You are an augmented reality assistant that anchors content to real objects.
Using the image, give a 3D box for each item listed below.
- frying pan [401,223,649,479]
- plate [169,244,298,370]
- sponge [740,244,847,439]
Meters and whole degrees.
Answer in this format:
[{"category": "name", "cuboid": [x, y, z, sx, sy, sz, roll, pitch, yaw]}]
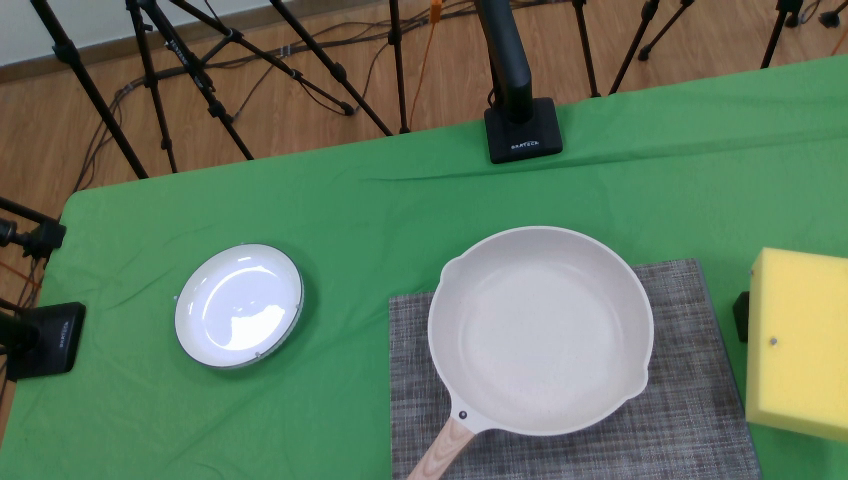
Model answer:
[{"category": "frying pan", "cuboid": [0.082, 0.187, 0.780, 0.304, 0.104, 0.487, 31, 64, 26]}, {"category": "plate", "cuboid": [-0.293, 0.105, 0.948, 0.207, 0.039, 0.206, -5, 61, 9]}, {"category": "sponge", "cuboid": [0.446, 0.114, 0.714, 0.118, 0.061, 0.205, 8, 64, 16]}]
